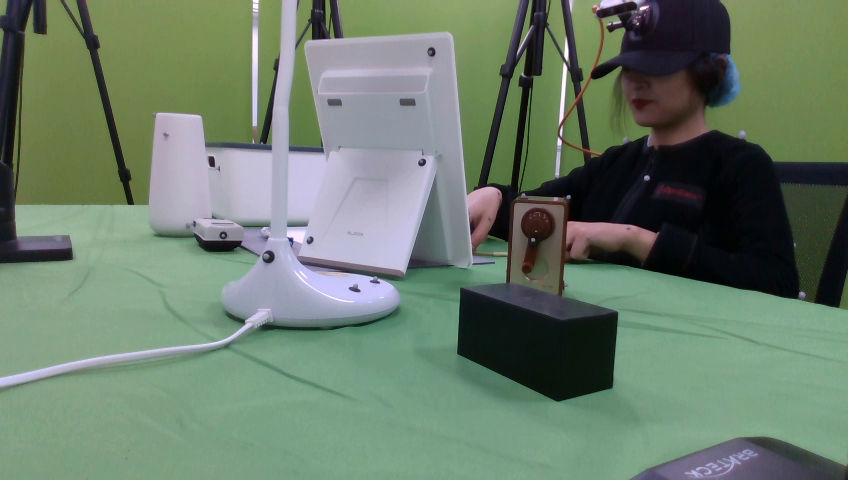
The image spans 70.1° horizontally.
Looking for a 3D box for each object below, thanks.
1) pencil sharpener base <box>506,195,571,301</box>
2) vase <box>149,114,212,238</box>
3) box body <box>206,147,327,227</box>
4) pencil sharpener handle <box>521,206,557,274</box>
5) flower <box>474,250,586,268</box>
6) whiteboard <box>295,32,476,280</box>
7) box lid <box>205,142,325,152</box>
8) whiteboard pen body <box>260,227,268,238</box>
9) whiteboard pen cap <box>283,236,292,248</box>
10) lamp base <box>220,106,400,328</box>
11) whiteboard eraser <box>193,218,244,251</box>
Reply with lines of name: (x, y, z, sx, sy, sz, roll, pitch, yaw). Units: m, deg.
pencil sharpener base: (0.126, 0.007, 0.662, 0.061, 0.107, 0.077, 4, 8, 13)
vase: (-0.405, -0.106, 1.005, 0.098, 0.200, 0.098, 2, 6, 0)
box body: (-0.276, -0.122, 1.320, 0.366, 0.160, 0.253, -2, 9, -30)
pencil sharpener handle: (0.112, 0.000, 0.611, 0.036, 0.067, 0.031, 13, 10, 11)
flower: (0.072, 0.017, 0.933, 0.362, 0.038, 0.044, 8, 6, -1)
whiteboard: (-0.076, -0.084, 0.747, 0.216, 0.305, 0.144, 7, 28, 29)
box lid: (-0.270, -0.196, 1.311, 0.373, 0.015, 0.262, -2, 9, -30)
whiteboard pen body: (-0.239, -0.005, 0.964, 0.017, 0.017, 0.140, -2, 9, -28)
whiteboard pen cap: (-0.211, 0.003, 0.913, 0.018, 0.018, 0.033, -2, 6, -28)
lamp base: (-0.102, -0.023, 0.531, 0.160, 0.180, 0.179, 4, 10, 10)
whiteboard eraser: (-0.307, -0.010, 0.900, 0.056, 0.042, 0.112, -4, 10, -28)
